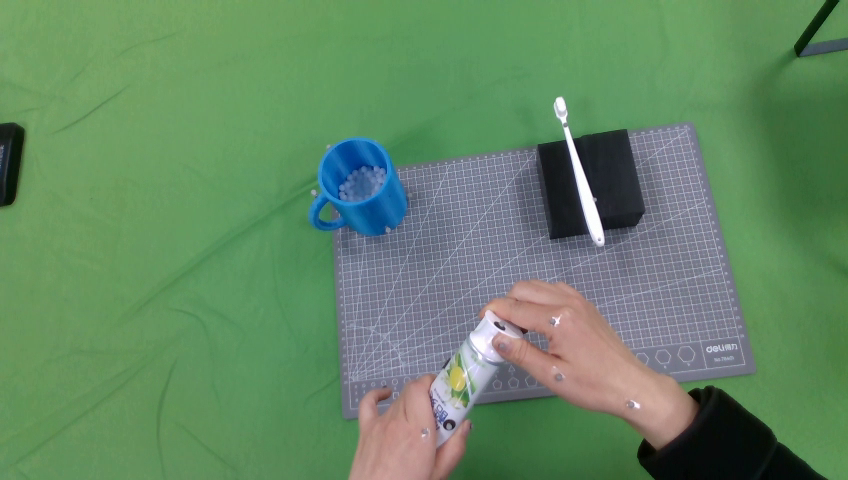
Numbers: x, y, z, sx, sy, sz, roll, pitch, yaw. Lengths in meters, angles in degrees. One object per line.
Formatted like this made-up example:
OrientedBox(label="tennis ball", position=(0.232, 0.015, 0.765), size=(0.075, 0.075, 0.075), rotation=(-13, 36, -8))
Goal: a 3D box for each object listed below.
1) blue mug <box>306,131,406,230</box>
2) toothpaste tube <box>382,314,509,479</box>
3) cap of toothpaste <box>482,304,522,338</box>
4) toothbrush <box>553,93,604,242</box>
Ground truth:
OrientedBox(label="blue mug", position=(-0.083, -0.057, 0.699), size=(0.116, 0.106, 0.082), rotation=(-35, 72, -3))
OrientedBox(label="toothpaste tube", position=(0.017, 0.126, 0.500), size=(0.165, 0.035, 0.054), rotation=(-57, 44, 18))
OrientedBox(label="cap of toothpaste", position=(0.059, 0.064, 0.472), size=(0.037, 0.037, 0.011), rotation=(37, 106, 16))
OrientedBox(label="toothbrush", position=(0.171, -0.083, 0.669), size=(0.014, 0.017, 0.180), rotation=(-11, 73, -1))
